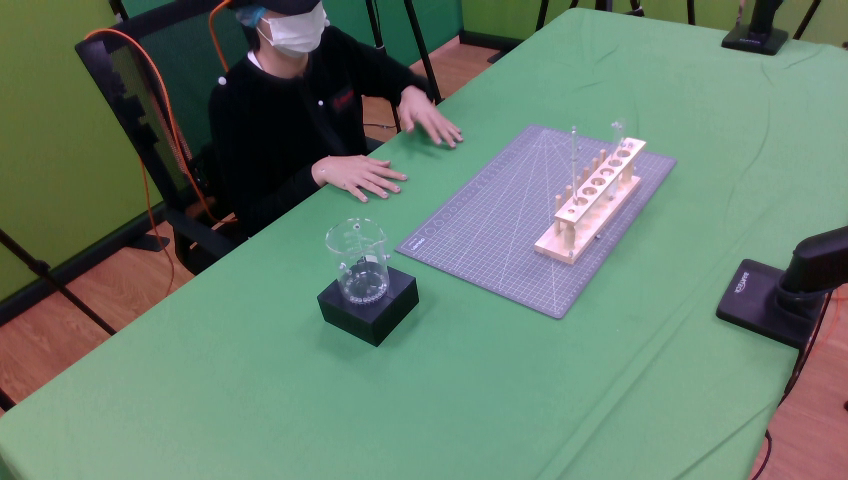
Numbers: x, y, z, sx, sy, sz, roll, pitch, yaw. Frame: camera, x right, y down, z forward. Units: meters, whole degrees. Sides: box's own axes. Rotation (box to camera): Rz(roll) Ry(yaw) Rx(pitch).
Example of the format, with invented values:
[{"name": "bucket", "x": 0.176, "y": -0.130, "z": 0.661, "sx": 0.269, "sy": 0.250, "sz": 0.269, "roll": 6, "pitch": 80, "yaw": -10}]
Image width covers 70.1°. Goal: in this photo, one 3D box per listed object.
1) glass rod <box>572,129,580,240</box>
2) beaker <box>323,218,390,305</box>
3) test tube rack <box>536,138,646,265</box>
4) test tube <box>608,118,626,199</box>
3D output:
[{"name": "glass rod", "x": 0.220, "y": -0.074, "z": 0.871, "sx": 0.008, "sy": 0.201, "sz": 0.008, "roll": -8, "pitch": 42, "yaw": 8}, {"name": "beaker", "x": -0.084, "y": 0.031, "z": 0.813, "sx": 0.084, "sy": 0.101, "sz": 0.073, "roll": -1, "pitch": 41, "yaw": 8}, {"name": "test tube rack", "x": 0.268, "y": -0.071, "z": 0.964, "sx": 0.066, "sy": 0.085, "sz": 0.243, "roll": 23, "pitch": 49, "yaw": 32}, {"name": "test tube", "x": 0.301, "y": -0.124, "z": 0.945, "sx": 0.017, "sy": 0.151, "sz": 0.017, "roll": -5, "pitch": 44, "yaw": 6}]
